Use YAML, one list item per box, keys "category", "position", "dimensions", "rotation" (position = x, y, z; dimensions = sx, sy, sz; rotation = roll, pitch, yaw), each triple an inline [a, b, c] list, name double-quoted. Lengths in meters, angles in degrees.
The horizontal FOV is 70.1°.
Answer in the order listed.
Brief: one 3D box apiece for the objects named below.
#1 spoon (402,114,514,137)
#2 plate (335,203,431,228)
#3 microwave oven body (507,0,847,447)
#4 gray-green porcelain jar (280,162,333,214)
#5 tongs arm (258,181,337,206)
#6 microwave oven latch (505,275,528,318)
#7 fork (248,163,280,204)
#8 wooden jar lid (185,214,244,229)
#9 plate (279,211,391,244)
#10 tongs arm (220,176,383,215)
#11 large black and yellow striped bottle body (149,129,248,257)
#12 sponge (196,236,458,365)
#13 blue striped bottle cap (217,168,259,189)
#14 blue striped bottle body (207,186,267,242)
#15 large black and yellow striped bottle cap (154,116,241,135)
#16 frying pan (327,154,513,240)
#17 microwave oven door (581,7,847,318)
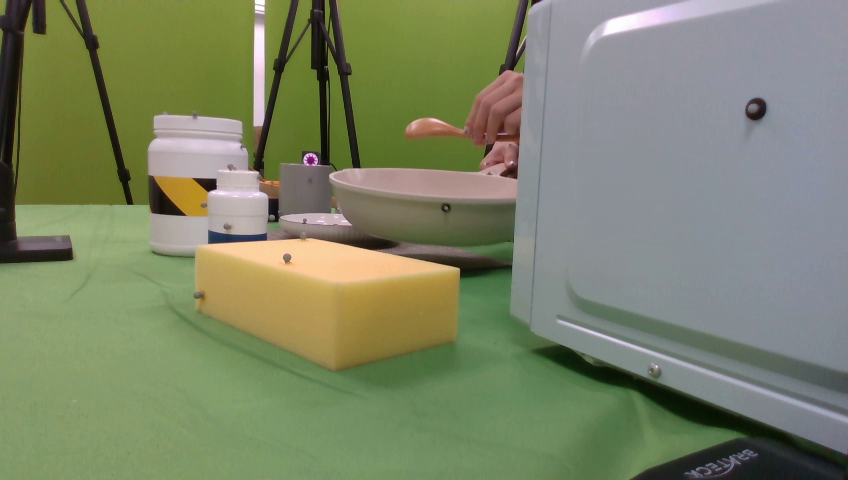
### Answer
- category: "spoon"
  position: [0.063, -0.140, 0.760]
  dimensions: [0.193, 0.021, 0.041]
  rotation: [10, 37, 17]
- category: "plate"
  position: [-0.089, -0.053, 1.309]
  dimensions: [0.208, 0.039, 0.207]
  rotation: [2, 8, 0]
- category: "microwave oven body"
  position: [0.331, -0.042, 0.425]
  dimensions: [0.444, 0.260, 0.324]
  rotation: [-2, 8, -31]
- category: "gray-green porcelain jar"
  position: [-0.238, -0.092, 1.221]
  dimensions: [0.106, 0.126, 0.106]
  rotation: [2, 7, 0]
- category: "tongs arm"
  position: [-0.241, -0.095, 1.373]
  dimensions: [0.387, 0.026, 0.050]
  rotation: [9, 0, -37]
- category: "microwave oven latch"
  position: [0.100, 0.042, 0.472]
  dimensions: [0.079, 0.029, 0.030]
  rotation: [-2, 8, -30]
- category: "fork"
  position: [-0.396, -0.143, 1.486]
  dimensions: [0.028, 0.018, 0.208]
  rotation: [20, -26, 45]
- category: "wooden jar lid"
  position: [-0.404, -0.037, 1.169]
  dimensions: [0.108, 0.020, 0.108]
  rotation: [3, 7, 0]
- category: "plate"
  position: [-0.139, -0.022, 1.021]
  dimensions: [0.209, 0.038, 0.209]
  rotation: [2, 8, 0]
- category: "tongs arm"
  position: [-0.285, -0.104, 1.445]
  dimensions: [0.389, 0.027, 0.028]
  rotation: [9, -4, -23]
- category: "large black and yellow striped bottle body"
  position: [-0.315, -0.075, 0.854]
  dimensions: [0.131, 0.184, 0.130]
  rotation: [2, 7, 0]
- category: "sponge"
  position: [-0.087, 0.039, 0.500]
  dimensions: [0.206, 0.061, 0.119]
  rotation: [8, 10, 44]
- category: "blue striped bottle cap"
  position: [-0.202, -0.067, 0.656]
  dimensions: [0.044, 0.020, 0.044]
  rotation: [0, 10, 0]
- category: "blue striped bottle body"
  position: [-0.204, -0.016, 0.663]
  dimensions: [0.063, 0.120, 0.063]
  rotation: [2, 7, 0]
- category: "large black and yellow striped bottle cap"
  position: [-0.314, -0.158, 0.843]
  dimensions: [0.115, 0.019, 0.115]
  rotation: [3, 7, 0]
- category: "frying pan"
  position: [0.071, -0.089, 0.905]
  dimensions: [0.305, 0.103, 0.490]
  rotation: [11, 23, 30]
- category: "microwave oven door"
  position: [0.295, -0.067, 0.569]
  dimensions: [0.358, 0.243, 0.039]
  rotation: [-3, 8, -31]
